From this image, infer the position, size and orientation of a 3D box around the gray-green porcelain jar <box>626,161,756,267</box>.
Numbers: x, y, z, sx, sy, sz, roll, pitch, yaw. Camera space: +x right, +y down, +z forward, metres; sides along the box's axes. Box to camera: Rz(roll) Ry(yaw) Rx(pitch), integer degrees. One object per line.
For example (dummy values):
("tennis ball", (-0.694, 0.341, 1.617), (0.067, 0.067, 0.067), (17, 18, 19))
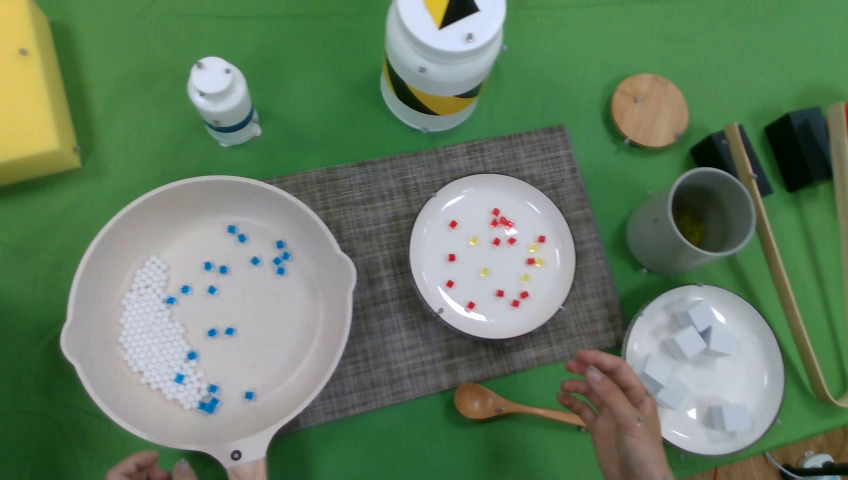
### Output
("gray-green porcelain jar", (0.315, -0.025, 0.737), (0.106, 0.127, 0.105), (2, 77, -7))

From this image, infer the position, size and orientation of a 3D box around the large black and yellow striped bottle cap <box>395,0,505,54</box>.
("large black and yellow striped bottle cap", (0.027, -0.249, 0.630), (0.115, 0.019, 0.114), (2, 77, -6))

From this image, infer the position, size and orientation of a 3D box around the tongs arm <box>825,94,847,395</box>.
("tongs arm", (0.540, 0.006, 0.778), (0.028, 0.027, 0.387), (-3, 88, -16))

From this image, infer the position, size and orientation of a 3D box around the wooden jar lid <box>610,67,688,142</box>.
("wooden jar lid", (0.304, -0.183, 0.824), (0.108, 0.021, 0.108), (1, 79, -7))

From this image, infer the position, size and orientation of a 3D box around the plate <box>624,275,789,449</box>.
("plate", (0.343, 0.148, 0.749), (0.208, 0.039, 0.206), (2, 78, -7))

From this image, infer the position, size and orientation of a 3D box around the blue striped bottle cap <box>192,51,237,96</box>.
("blue striped bottle cap", (-0.225, -0.179, 0.650), (0.044, 0.021, 0.044), (1, 75, -4))

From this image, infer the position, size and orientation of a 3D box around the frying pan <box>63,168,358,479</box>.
("frying pan", (-0.197, 0.163, 0.639), (0.307, 0.103, 0.484), (-13, 72, -7))

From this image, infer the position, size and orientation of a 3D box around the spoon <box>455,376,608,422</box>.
("spoon", (0.130, 0.196, 0.719), (0.194, 0.022, 0.041), (12, 60, -5))

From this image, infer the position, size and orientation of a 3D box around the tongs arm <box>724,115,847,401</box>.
("tongs arm", (0.459, 0.023, 0.762), (0.051, 0.026, 0.384), (-17, 91, -13))

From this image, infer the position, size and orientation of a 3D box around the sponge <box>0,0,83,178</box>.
("sponge", (-0.490, -0.182, 0.699), (0.118, 0.061, 0.206), (-18, 81, -11))

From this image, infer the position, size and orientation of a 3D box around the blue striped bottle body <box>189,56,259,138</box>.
("blue striped bottle body", (-0.231, -0.169, 0.700), (0.063, 0.121, 0.063), (2, 77, -7))

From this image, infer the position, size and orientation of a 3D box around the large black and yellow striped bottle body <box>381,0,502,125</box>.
("large black and yellow striped bottle body", (0.017, -0.230, 0.713), (0.131, 0.184, 0.130), (2, 77, -6))

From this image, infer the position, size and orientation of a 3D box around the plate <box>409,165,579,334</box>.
("plate", (0.083, 0.012, 0.741), (0.209, 0.038, 0.208), (1, 78, -6))
